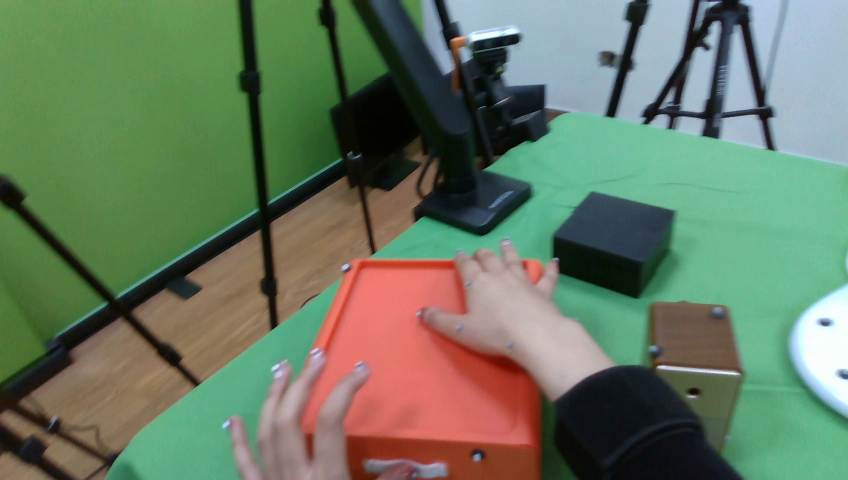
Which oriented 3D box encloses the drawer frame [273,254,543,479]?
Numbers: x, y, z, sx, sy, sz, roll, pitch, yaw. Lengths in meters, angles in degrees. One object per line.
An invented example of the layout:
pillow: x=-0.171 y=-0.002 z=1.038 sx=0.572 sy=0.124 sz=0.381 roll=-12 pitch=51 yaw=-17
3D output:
drawer frame: x=0.003 y=0.108 z=0.537 sx=0.201 sy=0.083 sz=0.212 roll=-1 pitch=35 yaw=11

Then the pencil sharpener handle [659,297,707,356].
pencil sharpener handle: x=0.213 y=0.067 z=0.509 sx=0.036 sy=0.068 sz=0.030 roll=7 pitch=38 yaw=11

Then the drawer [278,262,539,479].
drawer: x=0.004 y=0.109 z=0.534 sx=0.194 sy=0.074 sz=0.210 roll=-1 pitch=37 yaw=11

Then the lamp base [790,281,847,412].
lamp base: x=0.393 y=0.033 z=0.478 sx=0.160 sy=0.182 sz=0.178 roll=0 pitch=34 yaw=12

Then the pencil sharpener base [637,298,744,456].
pencil sharpener base: x=0.204 y=0.107 z=0.477 sx=0.061 sy=0.108 sz=0.076 roll=2 pitch=37 yaw=15
